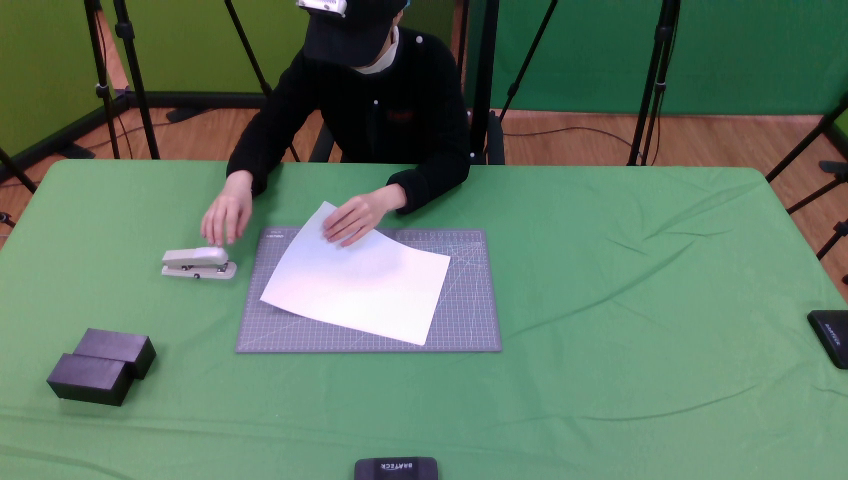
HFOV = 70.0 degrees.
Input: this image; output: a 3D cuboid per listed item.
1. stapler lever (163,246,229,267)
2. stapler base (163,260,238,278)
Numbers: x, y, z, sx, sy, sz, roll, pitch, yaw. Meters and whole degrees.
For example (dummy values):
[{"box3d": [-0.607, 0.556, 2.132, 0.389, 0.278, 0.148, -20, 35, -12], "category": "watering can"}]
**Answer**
[{"box3d": [-0.415, 0.029, 1.102, 0.118, 0.040, 0.026, 3, 44, 0], "category": "stapler lever"}, {"box3d": [-0.414, 0.046, 1.120, 0.130, 0.024, 0.041, 2, 44, 1], "category": "stapler base"}]
